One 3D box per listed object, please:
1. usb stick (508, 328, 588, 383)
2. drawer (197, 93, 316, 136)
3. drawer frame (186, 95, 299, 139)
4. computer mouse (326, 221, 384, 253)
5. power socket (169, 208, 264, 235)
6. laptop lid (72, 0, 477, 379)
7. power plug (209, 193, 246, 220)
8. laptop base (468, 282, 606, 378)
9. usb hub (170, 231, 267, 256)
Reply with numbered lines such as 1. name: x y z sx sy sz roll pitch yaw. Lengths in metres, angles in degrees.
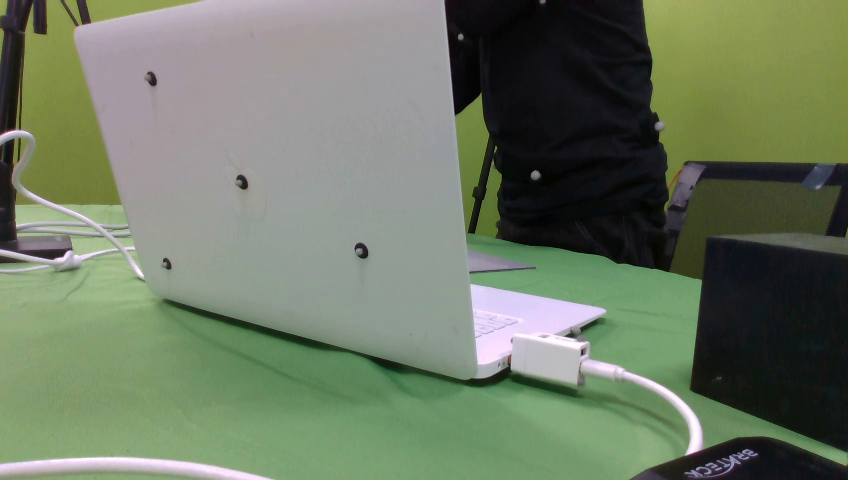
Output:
1. usb stick: 0.072 0.071 0.383 0.059 0.027 0.021 2 2 34
2. drawer: -0.363 -0.264 1.299 0.195 0.073 0.210 -3 9 -33
3. drawer frame: -0.417 -0.277 1.376 0.203 0.082 0.212 -3 8 -33
4. computer mouse: -0.104 -0.006 0.926 0.063 0.041 0.117 5 11 11
5. power socket: -0.381 -0.038 1.129 0.072 0.032 0.227 4 8 16
6. laptop lid: -0.125 -0.042 0.418 0.355 0.241 0.013 9 25 34
7. power plug: -0.389 -0.067 1.205 0.072 0.052 0.035 4 7 27
8. laptop base: -0.042 0.058 0.554 0.352 0.023 0.237 7 7 35
9. usb hub: -0.291 0.004 0.862 0.049 0.025 0.126 10 11 42
